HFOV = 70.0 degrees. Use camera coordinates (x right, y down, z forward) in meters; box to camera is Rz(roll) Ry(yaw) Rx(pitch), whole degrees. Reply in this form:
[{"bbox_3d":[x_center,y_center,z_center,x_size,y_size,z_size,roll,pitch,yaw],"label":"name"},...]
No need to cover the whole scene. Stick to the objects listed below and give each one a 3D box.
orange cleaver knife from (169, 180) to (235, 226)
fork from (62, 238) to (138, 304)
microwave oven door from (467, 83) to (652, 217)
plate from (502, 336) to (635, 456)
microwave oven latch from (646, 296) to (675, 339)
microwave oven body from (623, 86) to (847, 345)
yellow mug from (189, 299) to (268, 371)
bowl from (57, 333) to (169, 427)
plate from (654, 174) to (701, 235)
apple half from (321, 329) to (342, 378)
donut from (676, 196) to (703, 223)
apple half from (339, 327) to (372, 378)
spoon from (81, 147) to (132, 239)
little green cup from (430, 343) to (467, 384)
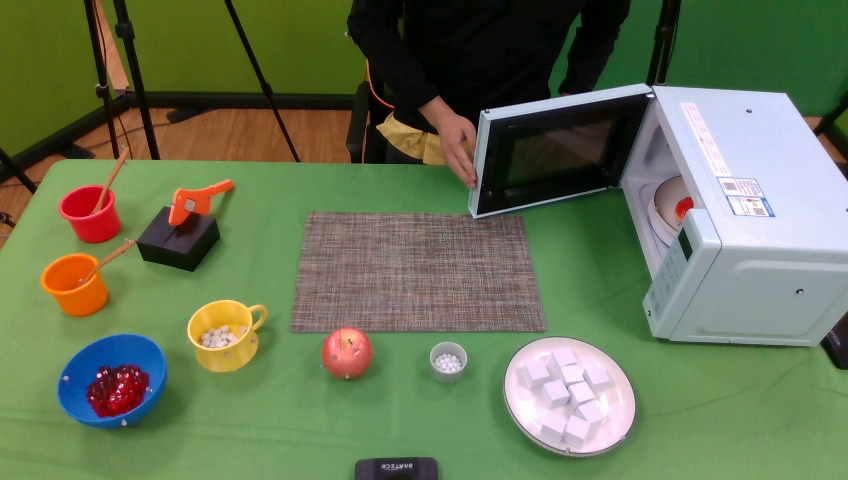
[{"bbox_3d":[-0.435,-0.076,1.199,0.012,0.077,0.211,17,17,9],"label":"orange cleaver knife"},{"bbox_3d":[-0.547,0.053,1.018,0.207,0.019,0.028,-36,41,23],"label":"fork"},{"bbox_3d":[0.268,-0.179,1.212,0.356,0.245,0.039,-13,49,-16],"label":"microwave oven door"},{"bbox_3d":[0.225,0.248,0.963,0.208,0.039,0.206,2,46,-2],"label":"plate"},{"bbox_3d":[0.412,0.134,1.061,0.030,0.029,0.078,4,45,1],"label":"microwave oven latch"},{"bbox_3d":[0.567,-0.053,1.118,0.326,0.261,0.439,2,45,-1],"label":"microwave oven body"},{"bbox_3d":[-0.316,0.148,1.002,0.131,0.064,0.099,-33,56,-31],"label":"yellow mug"},{"bbox_3d":[-0.456,0.223,0.912,0.151,0.077,0.150,3,45,-2],"label":"bowl"},{"bbox_3d":[0.555,-0.049,1.186,0.209,0.038,0.208,2,46,-2],"label":"plate"},{"bbox_3d":[-0.149,0.186,0.972,0.033,0.081,0.080,-2,46,-13],"label":"apple half"},{"bbox_3d":[0.538,-0.049,1.171,0.099,0.048,0.098,2,44,-2],"label":"donut"},{"bbox_3d":[-0.111,0.182,0.980,0.053,0.075,0.080,-2,42,-12],"label":"apple half"},{"bbox_3d":[-0.603,-0.089,1.156,0.041,0.022,0.193,28,94,18],"label":"spoon"},{"bbox_3d":[0.039,0.203,0.994,0.061,0.039,0.061,2,46,-2],"label":"little green cup"}]
